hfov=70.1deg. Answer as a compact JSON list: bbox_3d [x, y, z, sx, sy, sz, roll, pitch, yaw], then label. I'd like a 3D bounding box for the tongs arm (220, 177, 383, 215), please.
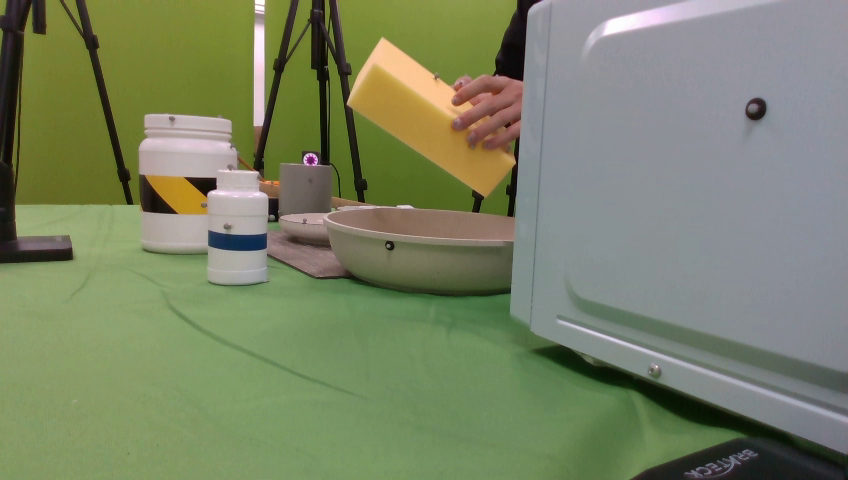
[{"bbox_3d":[-0.285,-0.103,1.445,0.389,0.027,0.028,9,-4,-23],"label":"tongs arm"}]

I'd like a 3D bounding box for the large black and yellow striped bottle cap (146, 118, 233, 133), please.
[{"bbox_3d":[-0.333,-0.163,0.860,0.115,0.019,0.115,1,9,0],"label":"large black and yellow striped bottle cap"}]

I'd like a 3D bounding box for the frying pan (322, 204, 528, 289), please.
[{"bbox_3d":[0.109,-0.018,0.800,0.490,0.102,0.305,-12,16,-30],"label":"frying pan"}]

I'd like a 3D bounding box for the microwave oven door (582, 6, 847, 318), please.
[{"bbox_3d":[0.295,-0.067,0.569,0.358,0.243,0.039,-3,8,-31],"label":"microwave oven door"}]

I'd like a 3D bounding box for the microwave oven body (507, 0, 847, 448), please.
[{"bbox_3d":[0.331,-0.042,0.425,0.444,0.260,0.324,-2,8,-31],"label":"microwave oven body"}]

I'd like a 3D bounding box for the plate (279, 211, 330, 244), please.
[{"bbox_3d":[-0.139,-0.022,1.021,0.209,0.038,0.209,2,8,0],"label":"plate"}]

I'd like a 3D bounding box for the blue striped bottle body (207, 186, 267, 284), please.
[{"bbox_3d":[-0.204,-0.016,0.663,0.063,0.120,0.063,2,7,0],"label":"blue striped bottle body"}]

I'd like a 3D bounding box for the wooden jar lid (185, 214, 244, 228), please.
[{"bbox_3d":[-0.404,-0.037,1.169,0.108,0.020,0.108,3,7,0],"label":"wooden jar lid"}]

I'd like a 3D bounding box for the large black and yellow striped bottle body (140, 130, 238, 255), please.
[{"bbox_3d":[-0.336,-0.078,0.871,0.131,0.184,0.130,2,8,0],"label":"large black and yellow striped bottle body"}]

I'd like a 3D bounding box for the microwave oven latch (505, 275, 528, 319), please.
[{"bbox_3d":[0.100,0.042,0.471,0.079,0.029,0.030,-1,7,-28],"label":"microwave oven latch"}]

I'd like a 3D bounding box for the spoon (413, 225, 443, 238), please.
[{"bbox_3d":[0.017,-0.019,1.113,0.041,0.021,0.194,-13,3,12],"label":"spoon"}]

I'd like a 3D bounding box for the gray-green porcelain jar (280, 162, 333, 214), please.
[{"bbox_3d":[-0.238,-0.092,1.221,0.106,0.126,0.106,2,7,0],"label":"gray-green porcelain jar"}]

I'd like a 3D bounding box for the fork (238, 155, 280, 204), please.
[{"bbox_3d":[-0.396,-0.143,1.487,0.028,0.018,0.208,20,-26,45],"label":"fork"}]

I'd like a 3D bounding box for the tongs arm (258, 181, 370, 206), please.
[{"bbox_3d":[-0.241,-0.095,1.373,0.387,0.026,0.050,9,-1,-37],"label":"tongs arm"}]

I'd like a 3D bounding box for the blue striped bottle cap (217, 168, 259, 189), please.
[{"bbox_3d":[-0.202,-0.067,0.656,0.044,0.020,0.044,0,10,0],"label":"blue striped bottle cap"}]

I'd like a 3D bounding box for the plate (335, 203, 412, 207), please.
[{"bbox_3d":[-0.089,-0.053,1.309,0.208,0.039,0.207,2,8,0],"label":"plate"}]

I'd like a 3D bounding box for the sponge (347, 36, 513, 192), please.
[{"bbox_3d":[0.012,-0.157,0.754,0.207,0.061,0.118,30,27,-19],"label":"sponge"}]
